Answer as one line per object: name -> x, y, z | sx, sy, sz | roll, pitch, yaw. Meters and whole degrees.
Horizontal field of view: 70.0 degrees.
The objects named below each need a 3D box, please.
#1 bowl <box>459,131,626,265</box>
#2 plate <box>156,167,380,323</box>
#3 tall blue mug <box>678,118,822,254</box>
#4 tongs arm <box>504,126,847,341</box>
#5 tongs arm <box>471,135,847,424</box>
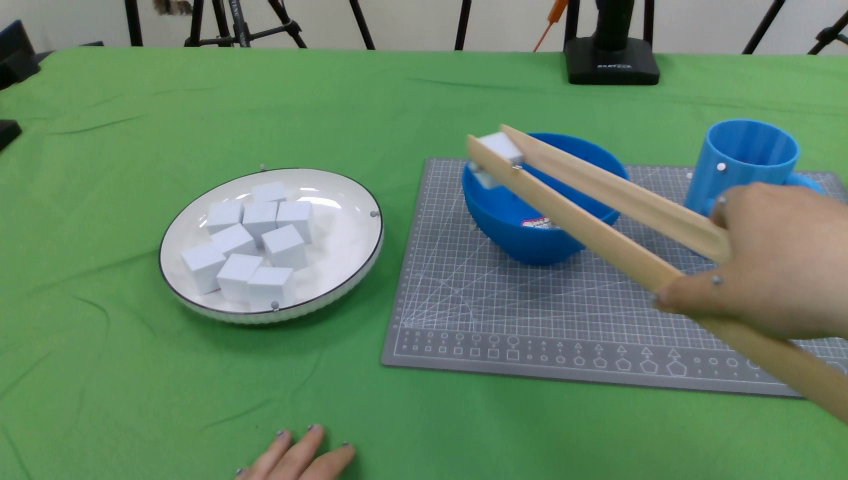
bowl -> 0.108, -0.030, 0.572 | 0.151, 0.077, 0.150 | -1, 42, 2
plate -> -0.144, 0.003, 0.583 | 0.209, 0.038, 0.207 | -1, 42, 1
tall blue mug -> 0.295, -0.042, 0.552 | 0.107, 0.109, 0.077 | 11, 44, 15
tongs arm -> 0.164, -0.001, 0.383 | 0.028, 0.028, 0.383 | -17, 35, -25
tongs arm -> 0.144, 0.007, 0.374 | 0.051, 0.027, 0.380 | -17, 36, -19
